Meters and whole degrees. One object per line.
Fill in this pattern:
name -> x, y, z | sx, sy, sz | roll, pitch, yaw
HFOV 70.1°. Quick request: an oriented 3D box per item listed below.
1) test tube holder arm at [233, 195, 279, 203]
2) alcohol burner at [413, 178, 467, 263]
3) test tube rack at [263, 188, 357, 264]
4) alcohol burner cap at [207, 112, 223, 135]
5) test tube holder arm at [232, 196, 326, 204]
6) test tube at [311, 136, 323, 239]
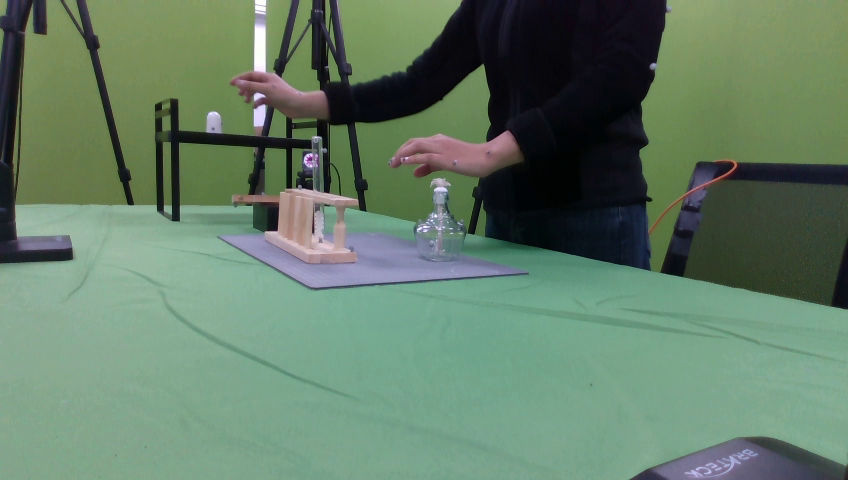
test tube holder arm -> -0.307, -0.076, 1.116 | 0.088, 0.015, 0.010 | -1, -2, -31
alcohol burner -> 0.023, -0.029, 0.864 | 0.078, 0.119, 0.078 | 1, 6, 0
test tube rack -> -0.175, -0.027, 0.890 | 0.067, 0.085, 0.241 | 0, 8, -28
alcohol burner cap -> -0.440, -0.245, 1.271 | 0.034, 0.048, 0.034 | 2, 8, 0
test tube holder arm -> -0.270, -0.076, 1.144 | 0.179, 0.015, 0.013 | -1, -2, -30
test tube -> -0.155, -0.076, 0.878 | 0.017, 0.150, 0.017 | 0, 7, 0
